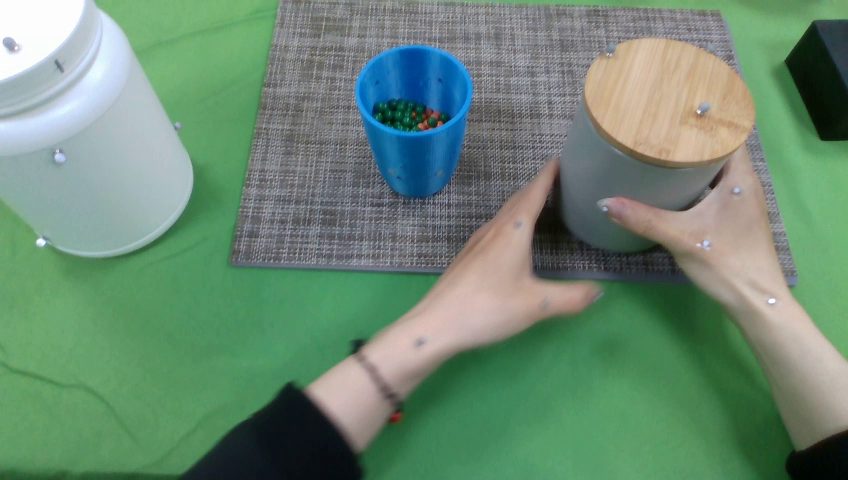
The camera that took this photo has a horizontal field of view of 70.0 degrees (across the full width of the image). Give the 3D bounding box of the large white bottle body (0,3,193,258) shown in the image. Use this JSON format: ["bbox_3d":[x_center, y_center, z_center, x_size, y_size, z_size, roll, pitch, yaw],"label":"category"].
[{"bbox_3d":[-0.255,-0.082,0.425,0.131,0.186,0.129,1,62,-1],"label":"large white bottle body"}]

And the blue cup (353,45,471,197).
[{"bbox_3d":[-0.008,-0.084,0.476,0.092,0.101,0.092,0,62,1],"label":"blue cup"}]

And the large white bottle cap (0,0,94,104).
[{"bbox_3d":[-0.254,-0.124,0.351,0.115,0.018,0.114,1,61,-1],"label":"large white bottle cap"}]

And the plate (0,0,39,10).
[{"bbox_3d":[-0.432,-0.306,0.625,0.208,0.039,0.206,1,62,-1],"label":"plate"}]

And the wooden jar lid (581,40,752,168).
[{"bbox_3d":[0.156,-0.087,0.397,0.108,0.021,0.107,0,58,0],"label":"wooden jar lid"}]

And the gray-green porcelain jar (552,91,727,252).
[{"bbox_3d":[0.155,-0.058,0.451,0.106,0.127,0.105,0,61,0],"label":"gray-green porcelain jar"}]
